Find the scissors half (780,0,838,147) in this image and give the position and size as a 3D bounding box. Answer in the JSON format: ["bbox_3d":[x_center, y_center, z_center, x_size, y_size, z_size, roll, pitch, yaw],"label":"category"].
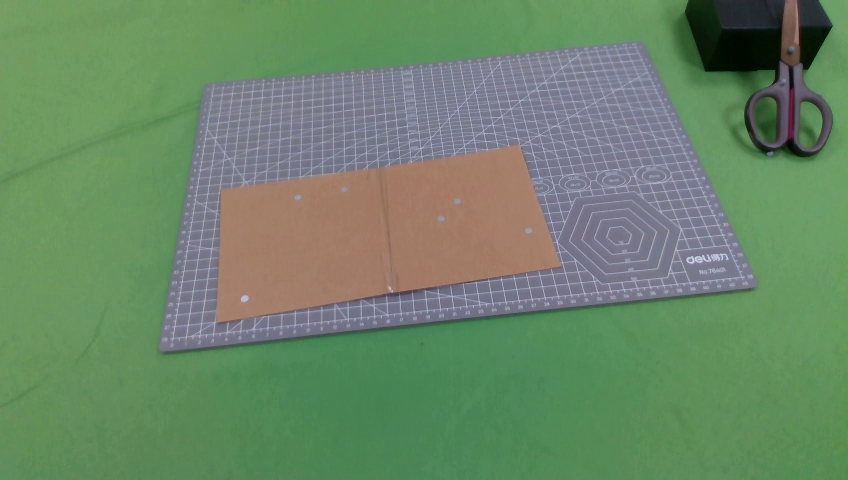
[{"bbox_3d":[0.338,-0.166,0.541,0.040,0.013,0.174,-3,76,11],"label":"scissors half"}]

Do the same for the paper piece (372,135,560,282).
[{"bbox_3d":[0.030,-0.031,0.504,0.136,0.004,0.134,-8,54,-3],"label":"paper piece"}]

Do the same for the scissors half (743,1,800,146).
[{"bbox_3d":[0.319,-0.167,0.545,0.040,0.013,0.174,15,79,10],"label":"scissors half"}]

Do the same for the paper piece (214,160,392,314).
[{"bbox_3d":[-0.102,-0.009,0.497,0.138,0.009,0.134,-9,52,-2],"label":"paper piece"}]
